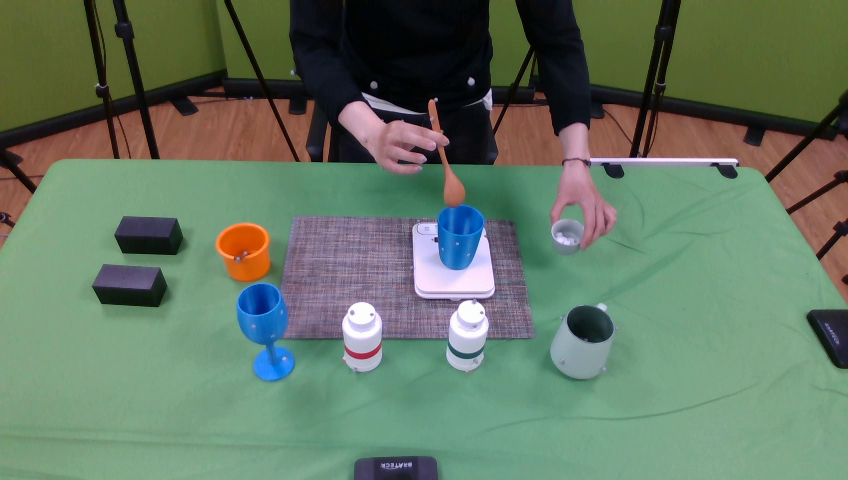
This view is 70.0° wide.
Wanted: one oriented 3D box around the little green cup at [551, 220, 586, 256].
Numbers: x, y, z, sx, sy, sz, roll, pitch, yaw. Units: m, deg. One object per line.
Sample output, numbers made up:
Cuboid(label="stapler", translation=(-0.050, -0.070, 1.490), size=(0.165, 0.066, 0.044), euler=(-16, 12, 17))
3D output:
Cuboid(label="little green cup", translation=(0.264, -0.002, 1.112), size=(0.061, 0.039, 0.061), euler=(-4, 52, 5))

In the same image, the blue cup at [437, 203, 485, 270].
Cuboid(label="blue cup", translation=(0.062, -0.001, 1.098), size=(0.093, 0.101, 0.092), euler=(2, 44, -2))

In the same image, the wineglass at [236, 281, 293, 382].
Cuboid(label="wineglass", translation=(-0.243, 0.143, 0.934), size=(0.074, 0.173, 0.073), euler=(2, 46, -2))

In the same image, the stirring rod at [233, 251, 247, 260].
Cuboid(label="stirring rod", translation=(-0.323, 0.026, 1.067), size=(0.014, 0.006, 0.176), euler=(-8, 4, -13))

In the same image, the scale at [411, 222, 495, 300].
Cuboid(label="scale", translation=(0.052, 0.031, 1.158), size=(0.149, 0.032, 0.199), euler=(1, 46, -4))

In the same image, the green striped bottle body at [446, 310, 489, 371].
Cuboid(label="green striped bottle body", translation=(0.070, 0.155, 0.984), size=(0.063, 0.120, 0.063), euler=(2, 46, -2))

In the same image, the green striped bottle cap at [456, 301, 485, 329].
Cuboid(label="green striped bottle cap", translation=(0.073, 0.116, 0.943), size=(0.044, 0.020, 0.044), euler=(3, 46, -3))

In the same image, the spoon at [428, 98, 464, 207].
Cuboid(label="spoon", translation=(0.032, -0.142, 1.011), size=(0.041, 0.194, 0.021), euler=(-23, 23, -14))

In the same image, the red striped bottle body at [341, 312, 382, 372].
Cuboid(label="red striped bottle body", translation=(-0.100, 0.154, 0.972), size=(0.063, 0.120, 0.062), euler=(2, 46, -1))

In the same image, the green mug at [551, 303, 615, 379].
Cuboid(label="green mug", translation=(0.271, 0.157, 1.007), size=(0.092, 0.105, 0.125), euler=(27, 50, 21))

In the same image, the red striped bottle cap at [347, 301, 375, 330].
Cuboid(label="red striped bottle cap", translation=(-0.097, 0.116, 0.934), size=(0.044, 0.018, 0.044), euler=(2, 50, -2))
